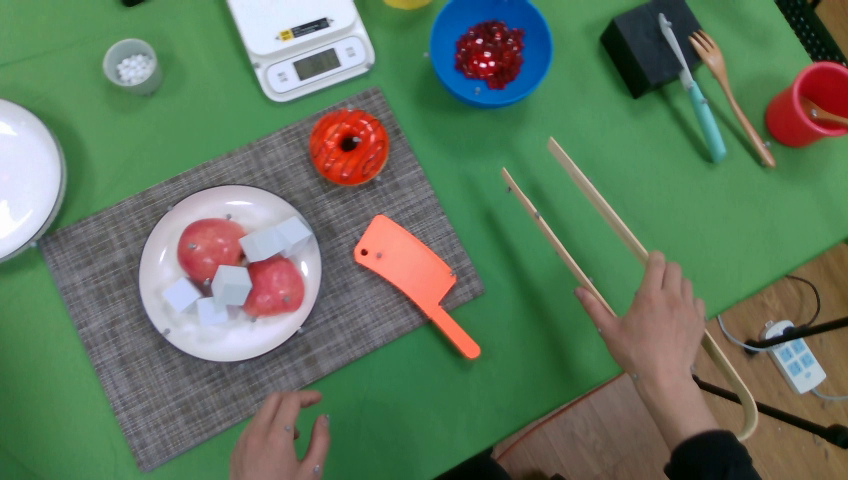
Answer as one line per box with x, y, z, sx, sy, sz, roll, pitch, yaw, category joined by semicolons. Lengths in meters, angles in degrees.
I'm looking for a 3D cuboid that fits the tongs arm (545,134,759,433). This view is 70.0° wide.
0.245;0.034;0.675;0.028;0.028;0.385;-29;74;-11;tongs arm

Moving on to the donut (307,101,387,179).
-0.094;-0.122;0.745;0.099;0.048;0.098;0;82;-3;donut

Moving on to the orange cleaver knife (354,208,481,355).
0.002;0.049;0.738;0.211;0.012;0.077;44;75;4;orange cleaver knife

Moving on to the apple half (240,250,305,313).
-0.182;0.048;0.708;0.081;0.033;0.081;0;83;-1;apple half

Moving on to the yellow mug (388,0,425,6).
-0.038;-0.374;0.781;0.131;0.064;0.100;30;81;2;yellow mug

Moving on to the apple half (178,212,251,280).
-0.245;0.003;0.701;0.074;0.053;0.080;17;79;1;apple half

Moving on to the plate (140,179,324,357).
-0.222;0.032;0.714;0.209;0.038;0.208;1;81;-4;plate

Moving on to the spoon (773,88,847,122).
0.520;-0.148;0.748;0.041;0.022;0.191;-32;40;-9;spoon

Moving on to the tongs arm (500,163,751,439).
0.211;0.056;0.669;0.051;0.027;0.382;-31;74;-8;tongs arm

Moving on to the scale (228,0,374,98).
-0.165;-0.294;0.777;0.149;0.031;0.200;-22;84;-7;scale

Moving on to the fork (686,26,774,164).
0.400;-0.186;0.785;0.028;0.018;0.208;-37;101;-12;fork

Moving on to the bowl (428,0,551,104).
0.077;-0.233;0.762;0.151;0.077;0.151;1;82;-4;bowl

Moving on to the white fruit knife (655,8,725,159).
0.339;-0.199;0.775;0.016;0.027;0.208;-29;99;-7;white fruit knife

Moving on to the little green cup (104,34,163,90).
-0.356;-0.217;0.747;0.061;0.039;0.061;1;81;-4;little green cup

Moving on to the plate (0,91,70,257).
-0.521;-0.074;0.712;0.208;0.039;0.207;1;81;-4;plate
